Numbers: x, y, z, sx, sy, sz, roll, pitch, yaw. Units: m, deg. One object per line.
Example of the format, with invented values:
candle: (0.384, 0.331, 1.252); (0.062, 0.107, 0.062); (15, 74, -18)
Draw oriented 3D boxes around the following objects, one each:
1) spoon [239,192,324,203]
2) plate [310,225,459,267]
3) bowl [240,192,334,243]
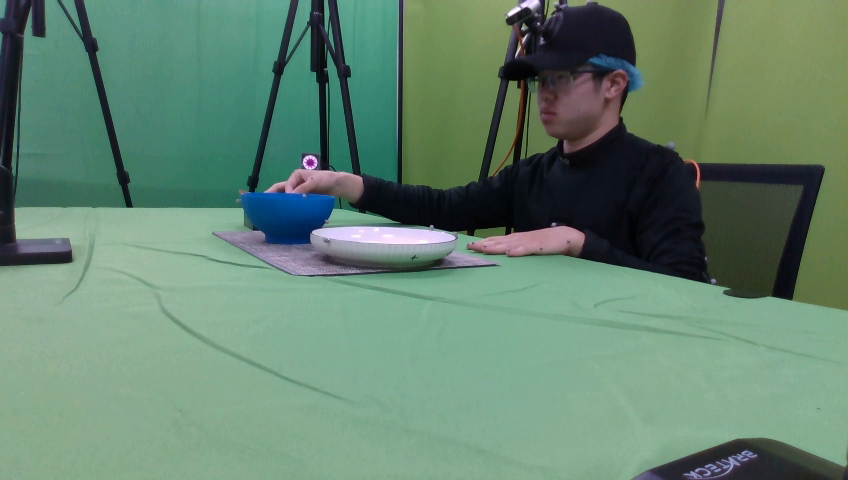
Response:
spoon: (-0.281, -0.085, 1.220); (0.195, 0.021, 0.041); (-4, 14, -43)
plate: (-0.055, 0.008, 0.851); (0.208, 0.039, 0.207); (2, 7, 0)
bowl: (-0.223, -0.037, 0.992); (0.151, 0.077, 0.151); (2, 7, 0)
